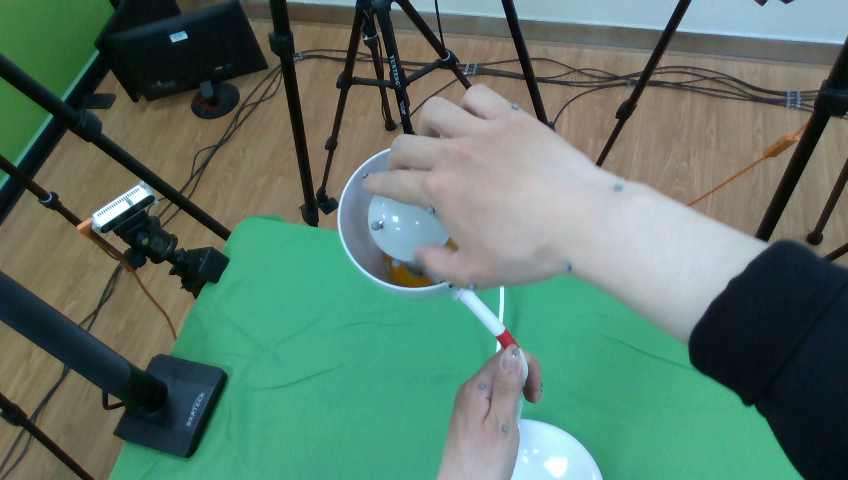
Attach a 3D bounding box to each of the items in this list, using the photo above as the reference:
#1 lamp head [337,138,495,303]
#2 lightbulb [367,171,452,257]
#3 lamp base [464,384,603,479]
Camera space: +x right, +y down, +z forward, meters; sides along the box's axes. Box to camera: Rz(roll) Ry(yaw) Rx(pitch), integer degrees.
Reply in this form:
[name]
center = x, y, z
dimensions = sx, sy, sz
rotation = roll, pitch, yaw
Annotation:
[lamp head]
center = 0.000, -0.001, 0.472
dimensions = 0.112, 0.124, 0.111
rotation = -2, 68, 6
[lightbulb]
center = -0.009, -0.011, 0.447
dimensions = 0.059, 0.108, 0.059
rotation = -1, 74, 3
[lamp base]
center = 0.111, 0.235, 0.643
dimensions = 0.161, 0.182, 0.177
rotation = -25, 56, -7
